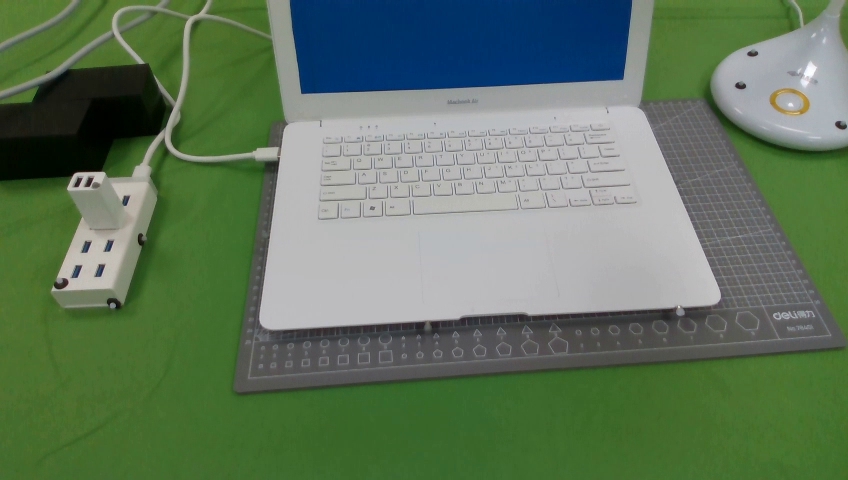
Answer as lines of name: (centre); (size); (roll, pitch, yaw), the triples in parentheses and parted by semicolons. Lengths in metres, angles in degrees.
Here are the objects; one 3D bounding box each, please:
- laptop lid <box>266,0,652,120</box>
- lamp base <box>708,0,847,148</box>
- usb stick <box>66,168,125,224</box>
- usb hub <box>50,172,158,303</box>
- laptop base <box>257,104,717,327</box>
laptop lid: (0.034, -0.224, 0.546); (0.357, 0.243, 0.013); (-4, 29, -2)
lamp base: (0.380, -0.209, 0.570); (0.160, 0.182, 0.178); (21, 51, 17)
usb stick: (-0.261, -0.030, 0.489); (0.027, 0.060, 0.021); (-4, 50, -1)
usb hub: (-0.264, -0.005, 0.506); (0.049, 0.025, 0.124); (-3, 50, -1)
laptop base: (0.044, -0.031, 0.530); (0.354, 0.023, 0.233); (-3, 54, -2)
